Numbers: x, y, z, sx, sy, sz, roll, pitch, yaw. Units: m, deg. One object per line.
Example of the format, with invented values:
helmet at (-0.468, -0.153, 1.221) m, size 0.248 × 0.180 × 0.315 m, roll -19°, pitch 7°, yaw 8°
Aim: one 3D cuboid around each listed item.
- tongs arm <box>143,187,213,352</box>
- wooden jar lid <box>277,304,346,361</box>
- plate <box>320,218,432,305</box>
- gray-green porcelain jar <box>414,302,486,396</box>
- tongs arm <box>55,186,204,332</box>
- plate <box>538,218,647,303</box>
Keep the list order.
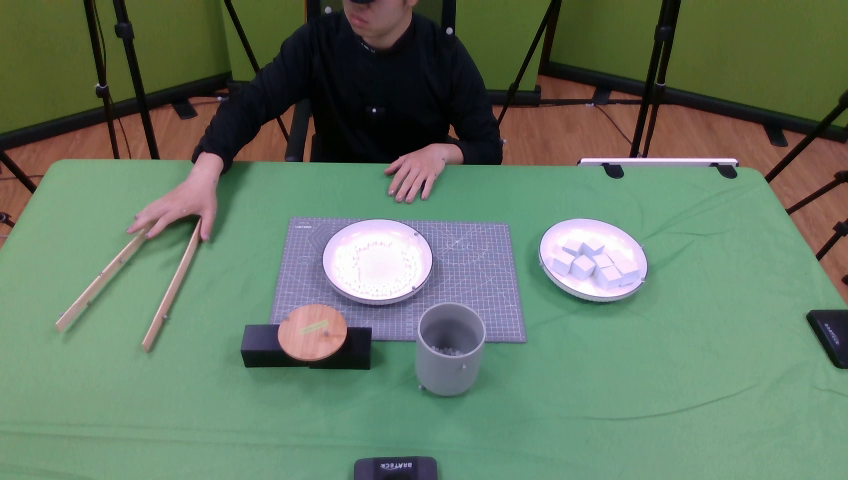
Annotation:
tongs arm at (-0.450, 0.039, 1.122) m, size 0.028 × 0.028 × 0.385 m, roll 2°, pitch 46°, yaw 1°
wooden jar lid at (-0.179, 0.150, 0.972) m, size 0.108 × 0.021 × 0.107 m, roll 2°, pitch 45°, yaw -2°
plate at (-0.089, 0.044, 1.134) m, size 0.209 × 0.038 × 0.208 m, roll 3°, pitch 46°, yaw -2°
gray-green porcelain jar at (0.038, 0.177, 0.958) m, size 0.106 × 0.127 × 0.105 m, roll 2°, pitch 46°, yaw -2°
tongs arm at (-0.530, 0.022, 1.126) m, size 0.051 × 0.026 × 0.383 m, roll 14°, pitch 46°, yaw 8°
plate at (0.322, 0.042, 1.171) m, size 0.208 × 0.039 × 0.206 m, roll 2°, pitch 46°, yaw -2°
